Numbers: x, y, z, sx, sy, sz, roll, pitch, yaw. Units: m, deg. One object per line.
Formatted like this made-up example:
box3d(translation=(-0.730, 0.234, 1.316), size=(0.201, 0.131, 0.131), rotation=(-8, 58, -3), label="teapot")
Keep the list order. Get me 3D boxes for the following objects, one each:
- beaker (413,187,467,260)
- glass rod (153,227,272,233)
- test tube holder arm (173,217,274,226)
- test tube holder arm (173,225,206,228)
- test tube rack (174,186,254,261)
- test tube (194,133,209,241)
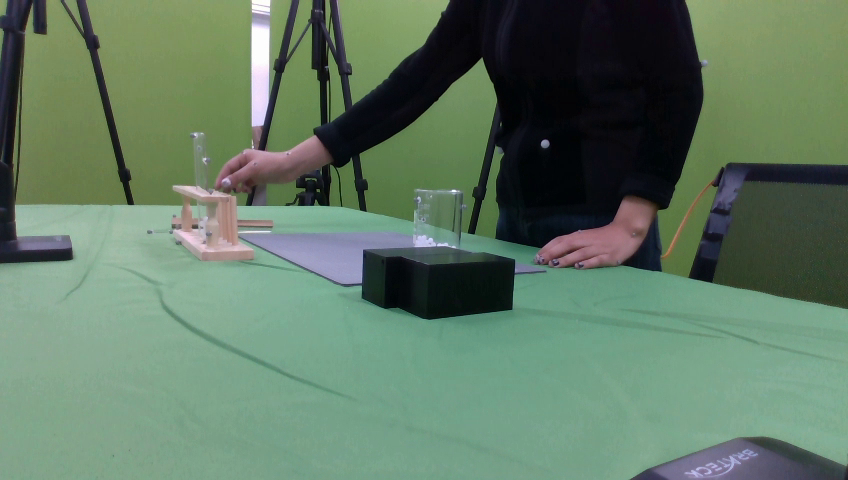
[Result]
box3d(translation=(0.019, -0.025, 0.878), size=(0.074, 0.100, 0.083), rotation=(-1, 7, -27), label="beaker")
box3d(translation=(-0.368, -0.017, 1.066), size=(0.201, 0.008, 0.008), rotation=(-2, 8, -27), label="glass rod")
box3d(translation=(-0.371, -0.033, 1.127), size=(0.179, 0.015, 0.013), rotation=(-1, -21, -25), label="test tube holder arm")
box3d(translation=(-0.414, -0.030, 1.113), size=(0.088, 0.015, 0.010), rotation=(-1, -21, -25), label="test tube holder arm")
box3d(translation=(-0.314, -0.031, 0.889), size=(0.067, 0.085, 0.241), rotation=(-2, 8, -30), label="test tube rack")
box3d(translation=(-0.307, -0.074, 0.842), size=(0.017, 0.150, 0.017), rotation=(-3, 2, 0), label="test tube")
